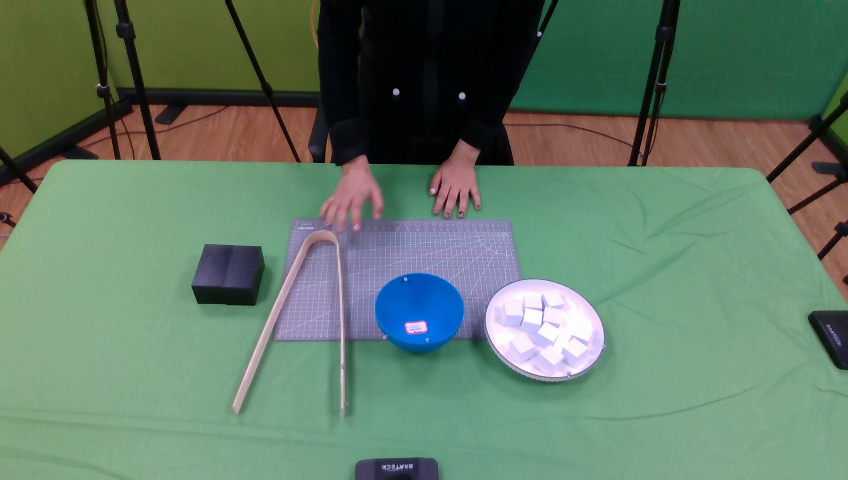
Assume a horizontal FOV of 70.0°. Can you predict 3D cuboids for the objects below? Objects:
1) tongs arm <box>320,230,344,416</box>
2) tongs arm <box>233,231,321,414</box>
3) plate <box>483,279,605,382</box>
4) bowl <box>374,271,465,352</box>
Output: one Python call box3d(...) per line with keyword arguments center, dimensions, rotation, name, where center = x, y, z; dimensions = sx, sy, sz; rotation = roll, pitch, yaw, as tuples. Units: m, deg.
box3d(center=(-0.163, 0.126, 1.055), dimensions=(0.051, 0.026, 0.382), rotation=(-4, 47, -3), name="tongs arm")
box3d(center=(-0.250, 0.124, 1.054), dimensions=(0.028, 0.028, 0.385), rotation=(5, 46, 10), name="tongs arm")
box3d(center=(0.204, 0.158, 1.046), dimensions=(0.208, 0.039, 0.206), rotation=(3, 47, -3), name="plate")
box3d(center=(-0.009, 0.136, 1.024), dimensions=(0.151, 0.077, 0.150), rotation=(2, 47, -2), name="bowl")
